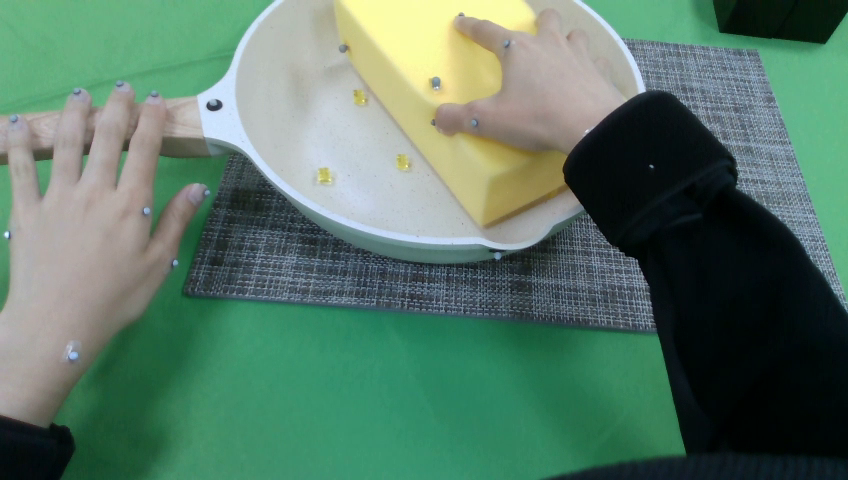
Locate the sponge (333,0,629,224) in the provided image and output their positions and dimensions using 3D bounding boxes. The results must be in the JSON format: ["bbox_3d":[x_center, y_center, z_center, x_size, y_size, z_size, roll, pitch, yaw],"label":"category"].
[{"bbox_3d":[0.034,-0.126,0.454,0.118,0.061,0.205,-29,65,-16],"label":"sponge"}]

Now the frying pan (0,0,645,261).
[{"bbox_3d":[-0.089,-0.089,0.419,0.489,0.103,0.303,-8,56,-18],"label":"frying pan"}]
